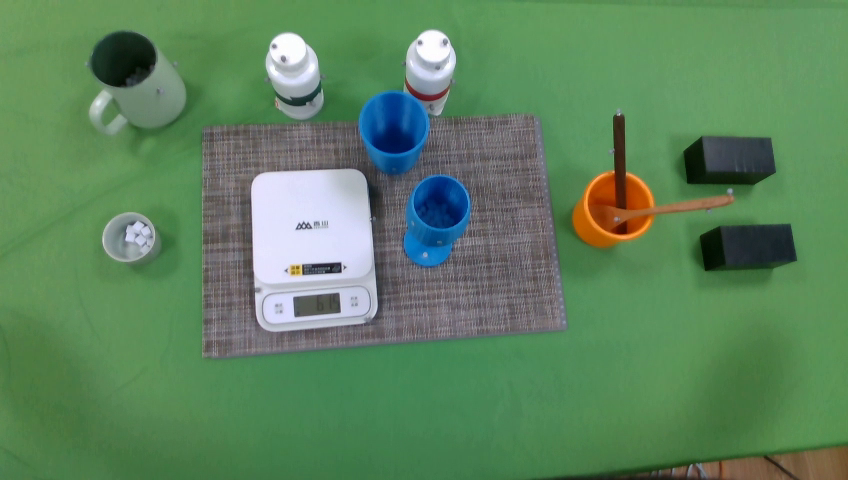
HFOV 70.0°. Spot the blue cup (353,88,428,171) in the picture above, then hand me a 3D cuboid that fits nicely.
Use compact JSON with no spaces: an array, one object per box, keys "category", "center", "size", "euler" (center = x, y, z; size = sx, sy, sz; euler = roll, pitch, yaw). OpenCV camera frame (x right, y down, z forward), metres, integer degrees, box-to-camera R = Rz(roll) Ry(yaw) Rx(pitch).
[{"category":"blue cup","center":[-0.041,-0.132,0.770],"size":[0.093,0.100,0.092],"euler":[1,79,-4]}]

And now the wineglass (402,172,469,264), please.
[{"category":"wineglass","center":[0.009,-0.021,0.711],"size":[0.074,0.173,0.073],"euler":[1,76,-4]}]

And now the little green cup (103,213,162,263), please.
[{"category":"little green cup","center":[-0.356,0.000,0.746],"size":[0.061,0.039,0.061],"euler":[1,77,-6]}]

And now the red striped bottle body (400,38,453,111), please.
[{"category":"red striped bottle body","center":[0.003,-0.221,0.789],"size":[0.063,0.120,0.062],"euler":[1,76,-5]}]

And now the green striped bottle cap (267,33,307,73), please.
[{"category":"green striped bottle cap","center":[-0.162,-0.222,0.716],"size":[0.044,0.020,0.044],"euler":[1,76,-3]}]

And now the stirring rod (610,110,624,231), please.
[{"category":"stirring rod","center":[0.243,-0.082,0.762],"size":[0.014,0.178,0.006],"euler":[6,41,26]}]

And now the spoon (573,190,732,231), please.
[{"category":"spoon","center":[0.279,-0.040,0.757],"size":[0.022,0.193,0.041],"euler":[2,82,-49]}]

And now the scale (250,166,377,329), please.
[{"category":"scale","center":[-0.141,0.006,0.764],"size":[0.149,0.031,0.200],"euler":[-5,78,-6]}]

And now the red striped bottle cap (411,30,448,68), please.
[{"category":"red striped bottle cap","center":[0.007,-0.233,0.737],"size":[0.044,0.018,0.044],"euler":[1,74,-4]}]

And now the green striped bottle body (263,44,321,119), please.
[{"category":"green striped bottle body","center":[-0.166,-0.207,0.770],"size":[0.063,0.119,0.063],"euler":[1,76,-5]}]

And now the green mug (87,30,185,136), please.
[{"category":"green mug","center":[-0.366,-0.184,0.754],"size":[0.092,0.105,0.125],"euler":[30,76,2]}]
